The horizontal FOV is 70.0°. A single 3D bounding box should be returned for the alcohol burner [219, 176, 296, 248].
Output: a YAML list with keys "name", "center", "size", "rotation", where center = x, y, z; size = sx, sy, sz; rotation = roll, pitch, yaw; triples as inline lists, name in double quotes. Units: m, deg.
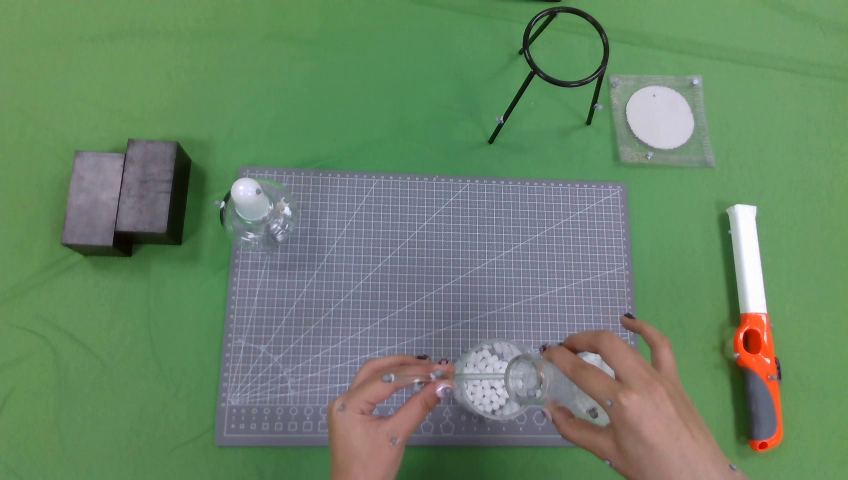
- name: "alcohol burner"
  center: [-0.172, -0.033, 0.614]
  size: [0.078, 0.119, 0.077]
  rotation: [1, 77, -3]

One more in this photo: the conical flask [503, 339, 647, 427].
- name: "conical flask"
  center: [0.118, 0.113, 0.490]
  size: [0.123, 0.075, 0.075]
  rotation: [13, 72, -38]

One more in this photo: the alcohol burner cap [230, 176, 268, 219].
- name: "alcohol burner cap"
  center: [-0.169, -0.044, 0.580]
  size: [0.034, 0.048, 0.033]
  rotation: [3, 69, -6]

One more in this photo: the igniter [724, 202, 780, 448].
- name: "igniter"
  center: [0.371, 0.091, 0.687]
  size: [0.057, 0.025, 0.275]
  rotation: [5, 76, -16]

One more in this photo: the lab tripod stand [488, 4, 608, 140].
- name: "lab tripod stand"
  center: [0.136, -0.180, 0.674]
  size: [0.148, 0.132, 0.147]
  rotation: [1, 78, -5]

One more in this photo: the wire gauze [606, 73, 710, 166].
- name: "wire gauze"
  center: [0.290, -0.151, 0.747]
  size: [0.125, 0.011, 0.121]
  rotation: [1, 77, -7]

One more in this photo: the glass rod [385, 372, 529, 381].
- name: "glass rod"
  center: [0.037, 0.114, 0.507]
  size: [0.201, 0.008, 0.008]
  rotation: [15, 71, -49]

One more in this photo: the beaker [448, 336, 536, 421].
- name: "beaker"
  center: [0.066, 0.136, 0.606]
  size: [0.084, 0.100, 0.074]
  rotation: [-41, 83, -14]
